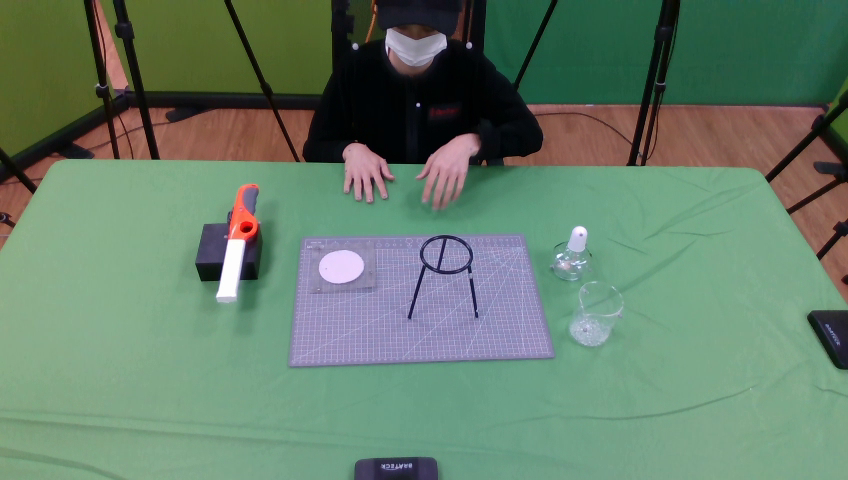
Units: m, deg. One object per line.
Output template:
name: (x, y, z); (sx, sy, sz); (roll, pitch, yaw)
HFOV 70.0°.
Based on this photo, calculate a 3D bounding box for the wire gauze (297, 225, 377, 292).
wire gauze: (-0.165, 0.034, 1.137); (0.125, 0.011, 0.120); (-21, 53, -15)

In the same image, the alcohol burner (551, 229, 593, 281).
alcohol burner: (0.281, 0.021, 1.137); (0.078, 0.120, 0.077); (1, 48, -1)

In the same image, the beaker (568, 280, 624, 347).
beaker: (0.290, 0.132, 1.041); (0.084, 0.101, 0.073); (-34, 57, -31)

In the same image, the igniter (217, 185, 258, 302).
igniter: (-0.339, -0.004, 1.106); (0.057, 0.025, 0.274); (1, 49, -6)

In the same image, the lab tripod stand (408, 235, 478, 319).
lab tripod stand: (0.032, 0.065, 1.057); (0.148, 0.132, 0.147); (1, 45, -1)

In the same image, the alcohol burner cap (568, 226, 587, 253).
alcohol burner cap: (0.284, -0.003, 1.112); (0.034, 0.048, 0.033); (1, 42, -1)
